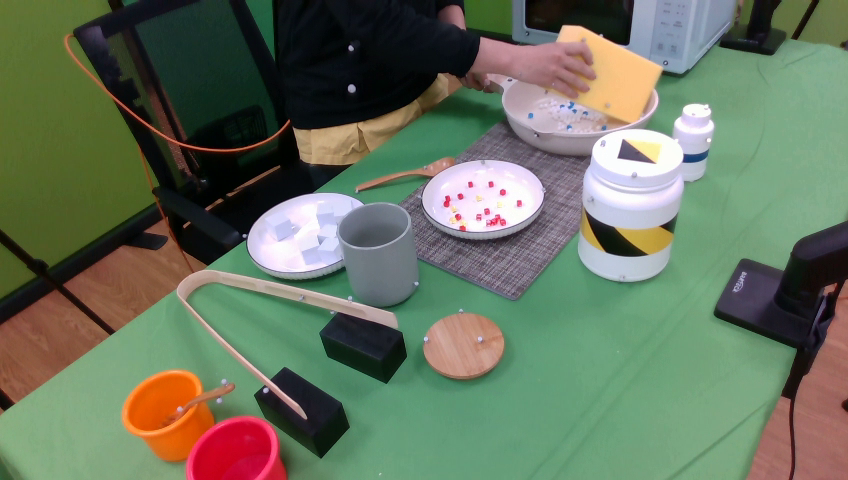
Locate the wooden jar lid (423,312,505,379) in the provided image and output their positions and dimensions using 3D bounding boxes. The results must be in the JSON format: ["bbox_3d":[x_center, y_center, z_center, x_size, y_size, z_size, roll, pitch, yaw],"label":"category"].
[{"bbox_3d":[0.053,0.142,0.800,0.108,0.021,0.108,-5,39,4],"label":"wooden jar lid"}]

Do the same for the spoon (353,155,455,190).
[{"bbox_3d":[-0.038,-0.123,1.116,0.194,0.022,0.041,-12,58,-4],"label":"spoon"}]

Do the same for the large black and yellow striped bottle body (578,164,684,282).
[{"bbox_3d":[0.292,-0.046,0.859,0.131,0.185,0.130,-4,41,4],"label":"large black and yellow striped bottle body"}]

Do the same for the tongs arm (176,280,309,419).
[{"bbox_3d":[-0.254,0.133,0.801,0.028,0.028,0.384,-41,41,-23],"label":"tongs arm"}]

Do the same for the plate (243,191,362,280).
[{"bbox_3d":[-0.187,-0.005,0.992,0.207,0.039,0.206,-4,41,4],"label":"plate"}]

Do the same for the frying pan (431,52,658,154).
[{"bbox_3d":[0.216,-0.302,1.223,0.484,0.103,0.308,29,49,24],"label":"frying pan"}]

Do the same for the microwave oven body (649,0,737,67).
[{"bbox_3d":[0.475,-0.602,1.411,0.438,0.261,0.327,23,50,32],"label":"microwave oven body"}]

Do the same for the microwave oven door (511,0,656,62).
[{"bbox_3d":[0.351,-0.540,1.349,0.353,0.245,0.039,24,50,31],"label":"microwave oven door"}]

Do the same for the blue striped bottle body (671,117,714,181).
[{"bbox_3d":[0.449,-0.165,1.022,0.063,0.121,0.063,-5,41,4],"label":"blue striped bottle body"}]

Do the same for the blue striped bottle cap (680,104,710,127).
[{"bbox_3d":[0.443,-0.205,0.989,0.044,0.021,0.044,-1,41,2],"label":"blue striped bottle cap"}]

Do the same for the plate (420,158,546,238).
[{"bbox_3d":[0.099,-0.067,1.017,0.209,0.038,0.208,-4,40,4],"label":"plate"}]

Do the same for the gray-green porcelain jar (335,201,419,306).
[{"bbox_3d":[-0.064,0.024,0.872,0.106,0.127,0.105,-4,41,4],"label":"gray-green porcelain jar"}]

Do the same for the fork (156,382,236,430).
[{"bbox_3d":[-0.262,0.189,0.690,0.018,0.206,0.028,49,43,-7],"label":"fork"}]

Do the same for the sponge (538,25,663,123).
[{"bbox_3d":[0.333,-0.308,1.141,0.208,0.118,0.060,15,15,-24],"label":"sponge"}]

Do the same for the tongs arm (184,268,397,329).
[{"bbox_3d":[-0.202,0.084,0.848,0.382,0.027,0.051,11,45,35],"label":"tongs arm"}]

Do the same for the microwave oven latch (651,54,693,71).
[{"bbox_3d":[0.531,-0.386,1.301,0.078,0.029,0.030,26,51,33],"label":"microwave oven latch"}]

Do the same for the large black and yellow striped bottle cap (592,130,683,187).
[{"bbox_3d":[0.282,-0.111,0.803,0.115,0.019,0.114,-3,41,3],"label":"large black and yellow striped bottle cap"}]
